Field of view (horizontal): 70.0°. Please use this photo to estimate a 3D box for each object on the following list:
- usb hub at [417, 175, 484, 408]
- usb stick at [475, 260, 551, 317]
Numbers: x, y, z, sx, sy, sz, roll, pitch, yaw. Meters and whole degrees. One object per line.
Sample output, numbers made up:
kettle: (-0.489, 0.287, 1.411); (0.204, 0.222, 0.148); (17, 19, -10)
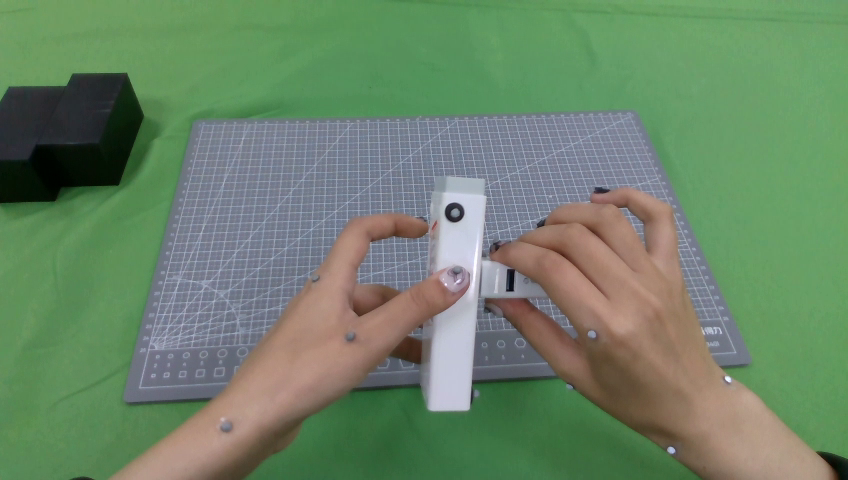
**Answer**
usb hub: (0.014, 0.027, 0.339); (0.025, 0.125, 0.049); (3, 6, -7)
usb stick: (0.040, 0.028, 0.342); (0.059, 0.021, 0.027); (-10, 14, -12)
